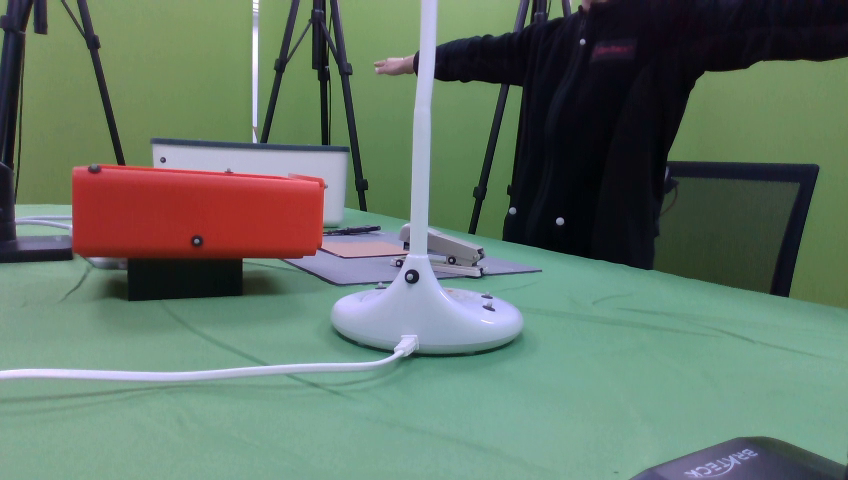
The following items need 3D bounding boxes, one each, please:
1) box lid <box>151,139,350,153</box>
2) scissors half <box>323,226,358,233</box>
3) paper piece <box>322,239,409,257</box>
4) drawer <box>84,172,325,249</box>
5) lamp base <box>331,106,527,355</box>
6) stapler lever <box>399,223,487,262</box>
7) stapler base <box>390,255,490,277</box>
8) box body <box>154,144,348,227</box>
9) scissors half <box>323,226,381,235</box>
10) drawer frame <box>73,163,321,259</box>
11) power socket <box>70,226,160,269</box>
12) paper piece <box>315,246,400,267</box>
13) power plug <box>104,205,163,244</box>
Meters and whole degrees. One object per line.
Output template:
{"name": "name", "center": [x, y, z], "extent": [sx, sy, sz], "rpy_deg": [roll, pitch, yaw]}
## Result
{"name": "box lid", "center": [-0.352, -0.191, 1.255], "extent": [0.373, 0.015, 0.262], "rpy_deg": [0, 8, -18]}
{"name": "scissors half", "center": [-0.166, -0.016, 1.094], "extent": [0.040, 0.013, 0.176], "rpy_deg": [4, 7, 39]}
{"name": "paper piece", "center": [-0.091, 0.011, 0.920], "extent": [0.139, 0.008, 0.135], "rpy_deg": [0, 11, -34]}
{"name": "drawer", "center": [-0.227, -0.036, 0.638], "extent": [0.213, 0.073, 0.193], "rpy_deg": [-1, 9, -23]}
{"name": "lamp base", "center": [0.006, -0.012, 0.478], "extent": [0.161, 0.180, 0.179], "rpy_deg": [2, 10, 2]}
{"name": "stapler lever", "center": [0.022, 0.003, 0.776], "extent": [0.117, 0.040, 0.027], "rpy_deg": [7, 12, 25]}
{"name": "stapler base", "center": [0.020, 0.027, 0.779], "extent": [0.130, 0.024, 0.041], "rpy_deg": [7, 12, 25]}
{"name": "box body", "center": [-0.357, -0.119, 1.264], "extent": [0.365, 0.160, 0.253], "rpy_deg": [0, 7, -18]}
{"name": "scissors half", "center": [-0.153, -0.015, 1.079], "extent": [0.176, 0.013, 0.040], "rpy_deg": [-6, 2, -33]}
{"name": "drawer frame", "center": [-0.232, -0.034, 0.635], "extent": [0.214, 0.082, 0.201], "rpy_deg": [1, 8, -23]}
{"name": "power socket", "center": [-0.409, 0.004, 0.793], "extent": [0.072, 0.032, 0.225], "rpy_deg": [-2, 8, -38]}
{"name": "paper piece", "center": [-0.101, 0.022, 0.918], "extent": [0.136, 0.004, 0.135], "rpy_deg": [2, 13, -22]}
{"name": "power plug", "center": [-0.390, -0.021, 0.815], "extent": [0.073, 0.052, 0.035], "rpy_deg": [-1, 8, -27]}
